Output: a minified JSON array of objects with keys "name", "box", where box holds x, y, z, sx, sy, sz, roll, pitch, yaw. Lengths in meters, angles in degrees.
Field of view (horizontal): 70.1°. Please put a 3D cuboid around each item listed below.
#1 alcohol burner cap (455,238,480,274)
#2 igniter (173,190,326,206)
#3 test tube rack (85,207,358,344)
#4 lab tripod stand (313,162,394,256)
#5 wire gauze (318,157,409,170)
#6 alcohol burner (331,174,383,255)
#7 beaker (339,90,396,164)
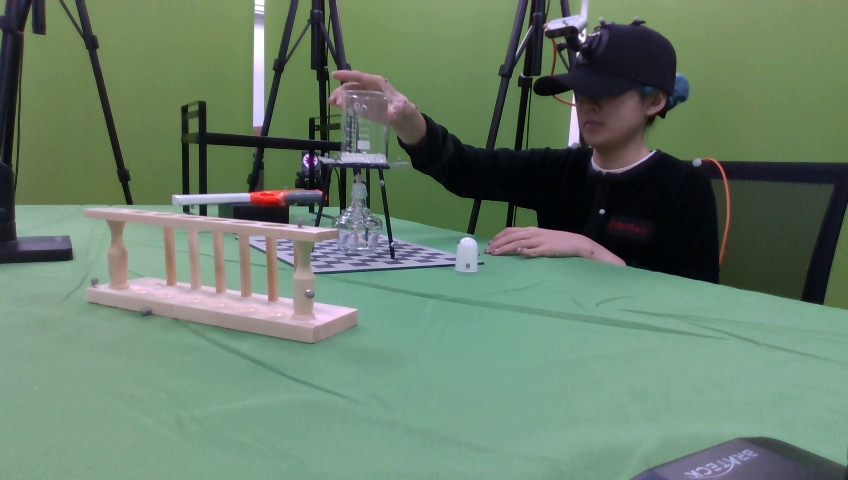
[{"name":"alcohol burner cap","box":[0.058,0.022,0.798,0.034,0.048,0.034,3,6,0]},{"name":"igniter","box":[-0.317,-0.079,1.128,0.278,0.025,0.057,-4,13,-32]},{"name":"test tube rack","box":[-0.177,0.022,0.518,0.241,0.085,0.067,6,7,23]},{"name":"lab tripod stand","box":[-0.098,-0.048,0.897,0.148,0.131,0.148,1,6,0]},{"name":"wire gauze","box":[-0.091,-0.113,0.887,0.122,0.011,0.124,3,5,-15]},{"name":"alcohol burner","box":[-0.098,-0.038,0.895,0.078,0.119,0.078,4,9,0]},{"name":"beaker","box":[-0.083,-0.161,0.877,0.084,0.100,0.073,0,8,-21]}]
